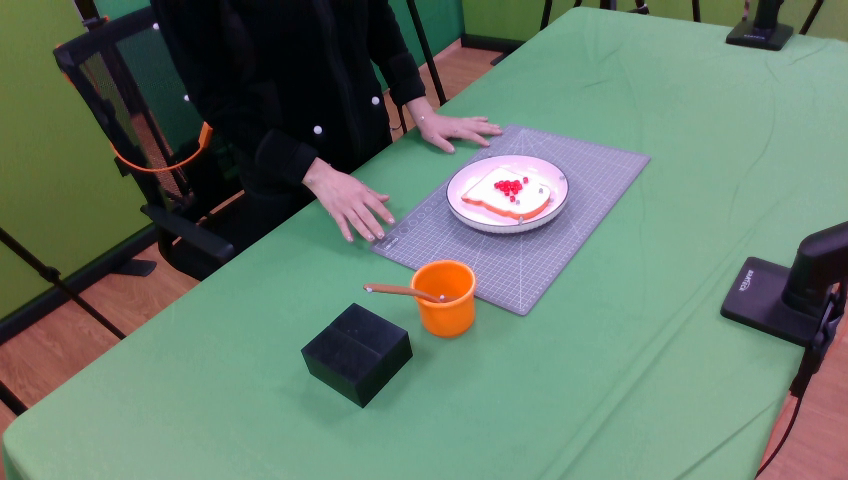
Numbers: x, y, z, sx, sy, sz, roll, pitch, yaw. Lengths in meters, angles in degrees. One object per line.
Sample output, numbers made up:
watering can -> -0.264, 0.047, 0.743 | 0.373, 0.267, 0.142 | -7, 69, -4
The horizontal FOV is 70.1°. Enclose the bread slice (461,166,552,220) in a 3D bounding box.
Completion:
bread slice -> 0.149, -0.079, 1.036 | 0.133, 0.018, 0.107 | 22, 50, 31

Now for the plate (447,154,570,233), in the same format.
plate -> 0.143, -0.076, 1.032 | 0.209, 0.038, 0.208 | -5, 40, 5

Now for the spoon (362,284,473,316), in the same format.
spoon -> -0.005, 0.075, 0.800 | 0.021, 0.195, 0.041 | -55, 45, 15
